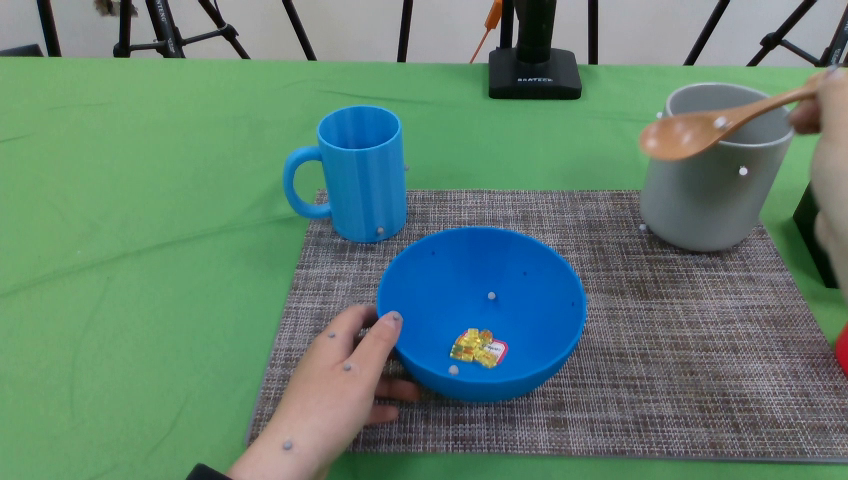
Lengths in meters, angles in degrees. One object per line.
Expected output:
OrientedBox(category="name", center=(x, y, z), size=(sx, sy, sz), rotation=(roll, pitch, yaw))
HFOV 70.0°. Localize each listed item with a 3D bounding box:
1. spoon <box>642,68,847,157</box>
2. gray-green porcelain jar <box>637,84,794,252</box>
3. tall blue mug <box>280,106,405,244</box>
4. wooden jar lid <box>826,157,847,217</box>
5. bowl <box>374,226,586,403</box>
OrientedBox(category="spoon", center=(0.242, -0.093, 0.399), size=(0.193, 0.022, 0.041), rotation=(-16, 52, 39))
OrientedBox(category="gray-green porcelain jar", center=(0.257, -0.061, 0.554), size=(0.106, 0.127, 0.105), rotation=(-1, 43, 1))
OrientedBox(category="tall blue mug", center=(-0.070, -0.054, 0.568), size=(0.107, 0.109, 0.077), rotation=(-32, 51, -29))
OrientedBox(category="wooden jar lid", center=(0.414, -0.038, 0.534), size=(0.108, 0.021, 0.107), rotation=(-1, 42, 2))
OrientedBox(category="bowl", center=(0.040, 0.068, 0.456), size=(0.151, 0.077, 0.150), rotation=(-1, 43, 1))
